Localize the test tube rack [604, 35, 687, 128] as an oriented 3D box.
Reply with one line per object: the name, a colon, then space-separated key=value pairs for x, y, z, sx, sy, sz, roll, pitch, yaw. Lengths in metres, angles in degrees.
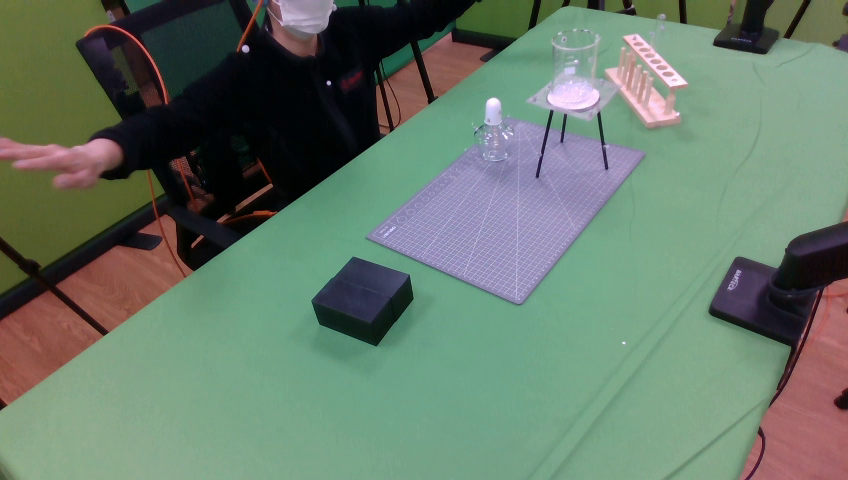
test tube rack: x=0.447 y=-0.330 z=1.241 sx=0.067 sy=0.085 sz=0.241 roll=-9 pitch=41 yaw=-2

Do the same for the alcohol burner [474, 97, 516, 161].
alcohol burner: x=0.131 y=-0.208 z=1.121 sx=0.078 sy=0.119 sz=0.077 roll=-6 pitch=40 yaw=5

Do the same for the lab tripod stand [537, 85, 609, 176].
lab tripod stand: x=0.259 y=-0.192 z=1.068 sx=0.148 sy=0.132 sz=0.147 roll=-4 pitch=43 yaw=4

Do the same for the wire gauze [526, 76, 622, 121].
wire gauze: x=0.255 y=-0.247 z=1.030 sx=0.124 sy=0.011 sz=0.122 roll=23 pitch=49 yaw=34

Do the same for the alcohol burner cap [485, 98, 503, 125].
alcohol burner cap: x=0.126 y=-0.234 z=1.097 sx=0.034 sy=0.048 sz=0.033 roll=-3 pitch=39 yaw=3

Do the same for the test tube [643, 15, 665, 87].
test tube: x=0.460 y=-0.378 z=1.219 sx=0.017 sy=0.151 sz=0.017 roll=-1 pitch=43 yaw=1

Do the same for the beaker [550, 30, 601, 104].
beaker: x=0.249 y=-0.285 z=1.001 sx=0.084 sy=0.101 sz=0.073 roll=-13 pitch=43 yaw=-5
